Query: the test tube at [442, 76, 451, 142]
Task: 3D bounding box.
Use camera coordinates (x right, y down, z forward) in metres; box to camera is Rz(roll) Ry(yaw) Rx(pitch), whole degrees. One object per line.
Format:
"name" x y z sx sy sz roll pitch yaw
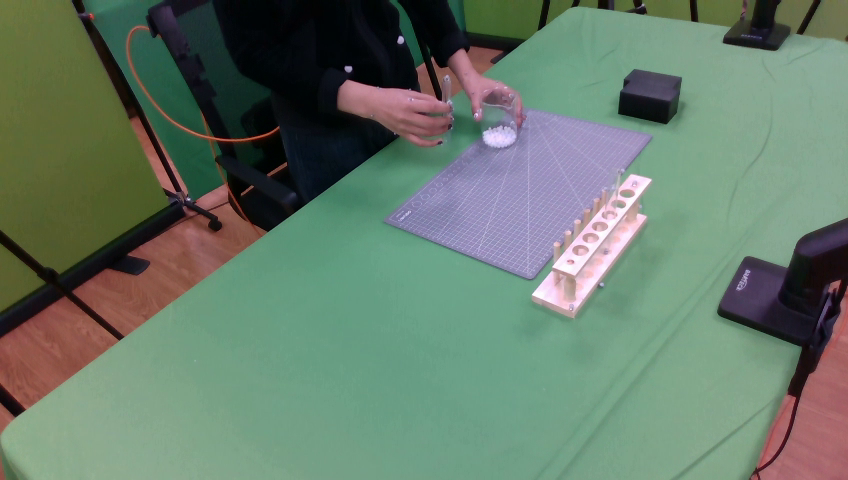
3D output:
"test tube" 0.040 -0.224 1.053 0.017 0.151 0.017 -1 58 2

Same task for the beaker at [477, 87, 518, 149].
"beaker" 0.147 -0.233 1.167 0.074 0.101 0.083 -26 43 -17

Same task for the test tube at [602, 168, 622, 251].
"test tube" 0.264 -0.039 0.854 0.017 0.151 0.017 -5 44 6

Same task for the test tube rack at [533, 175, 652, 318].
"test tube rack" 0.250 -0.001 0.889 0.066 0.085 0.243 22 49 33
